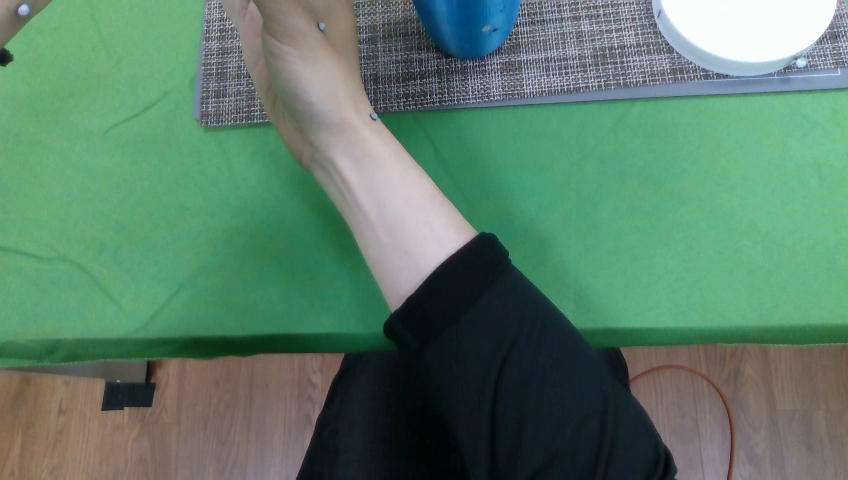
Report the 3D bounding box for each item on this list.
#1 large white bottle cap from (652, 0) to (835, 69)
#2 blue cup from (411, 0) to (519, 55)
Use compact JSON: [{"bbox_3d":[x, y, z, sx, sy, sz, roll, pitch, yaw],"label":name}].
[{"bbox_3d":[0.213,-0.169,0.406,0.115,0.018,0.114,-1,75,5],"label":"large white bottle cap"},{"bbox_3d":[0.025,-0.170,0.381,0.092,0.101,0.092,-2,75,7],"label":"blue cup"}]
